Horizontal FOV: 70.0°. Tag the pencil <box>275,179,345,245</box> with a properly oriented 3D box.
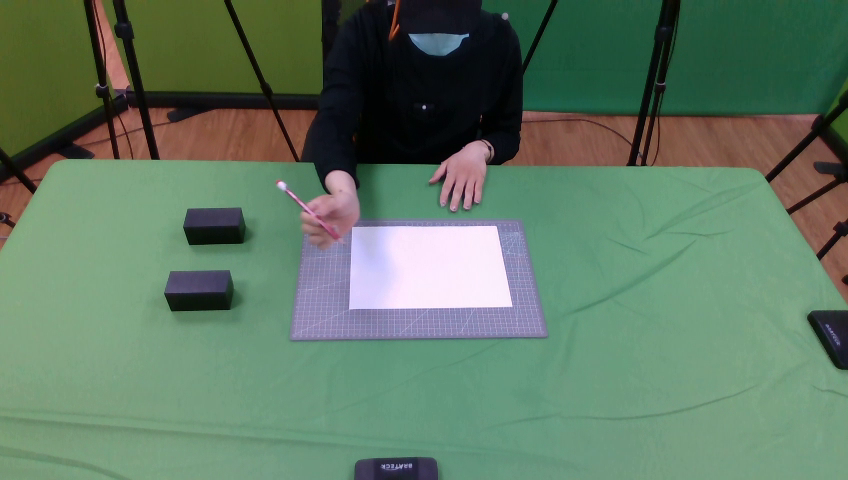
[{"bbox_3d":[-0.191,-0.048,1.011,0.012,0.012,0.193,-33,59,-30],"label":"pencil"}]
